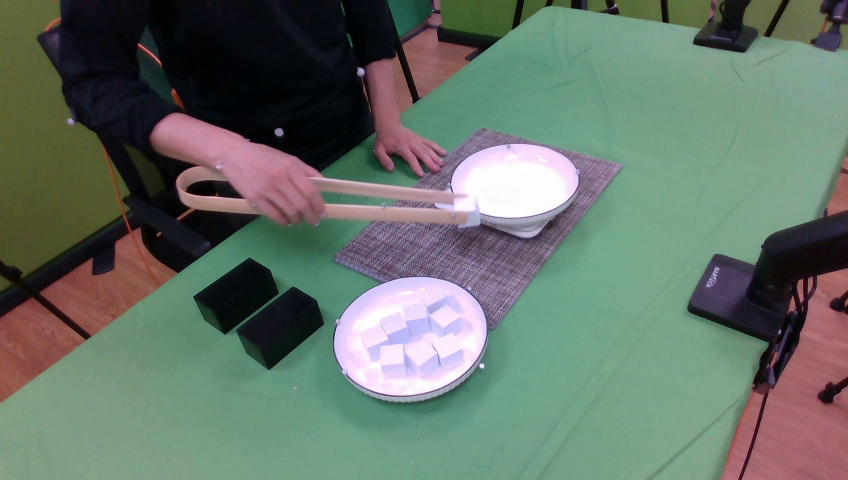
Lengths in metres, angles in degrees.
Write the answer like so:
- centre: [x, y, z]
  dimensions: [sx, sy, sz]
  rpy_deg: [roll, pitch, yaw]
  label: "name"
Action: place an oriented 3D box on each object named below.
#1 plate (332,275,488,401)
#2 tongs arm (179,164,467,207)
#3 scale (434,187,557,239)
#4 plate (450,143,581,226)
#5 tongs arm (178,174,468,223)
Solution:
- centre: [-0.017, 0.131, 0.808]
  dimensions: [0.207, 0.039, 0.206]
  rpy_deg: [-4, 41, 4]
  label: "plate"
- centre: [-0.133, -0.072, 0.832]
  dimensions: [0.388, 0.028, 0.028]
  rpy_deg: [6, 56, -5]
  label: "tongs arm"
- centre: [0.132, -0.075, 1.025]
  dimensions: [0.199, 0.032, 0.149]
  rpy_deg: [22, 48, 30]
  label: "scale"
- centre: [0.148, -0.087, 0.986]
  dimensions: [0.209, 0.038, 0.208]
  rpy_deg: [-4, 41, 4]
  label: "plate"
- centre: [-0.133, -0.055, 0.819]
  dimensions: [0.386, 0.026, 0.050]
  rpy_deg: [2, 53, -8]
  label: "tongs arm"
